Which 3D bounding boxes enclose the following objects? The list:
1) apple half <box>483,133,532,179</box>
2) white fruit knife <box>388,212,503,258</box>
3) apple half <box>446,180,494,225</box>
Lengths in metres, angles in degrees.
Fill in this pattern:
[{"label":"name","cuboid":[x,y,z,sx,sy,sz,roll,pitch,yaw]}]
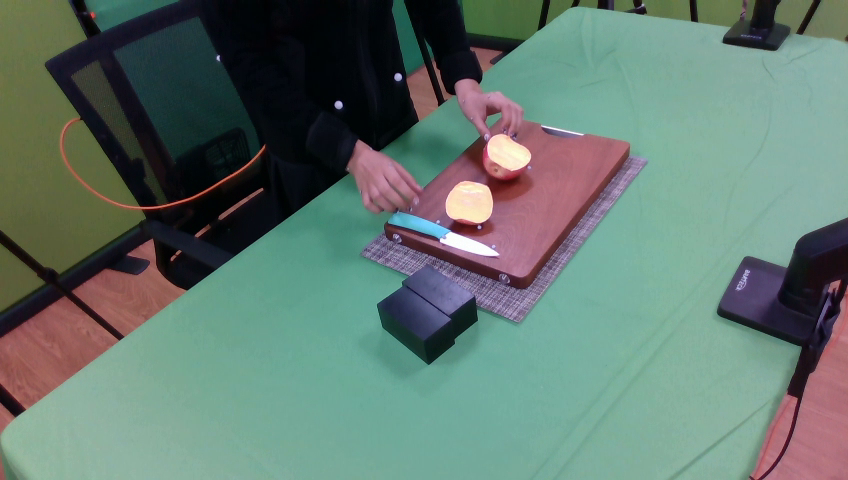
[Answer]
[{"label":"apple half","cuboid":[0.138,-0.138,1.048,0.080,0.053,0.075,30,51,5]},{"label":"white fruit knife","cuboid":[0.032,-0.008,0.949,0.206,0.016,0.027,20,77,28]},{"label":"apple half","cuboid":[0.076,-0.056,0.976,0.081,0.033,0.081,-3,66,7]}]
